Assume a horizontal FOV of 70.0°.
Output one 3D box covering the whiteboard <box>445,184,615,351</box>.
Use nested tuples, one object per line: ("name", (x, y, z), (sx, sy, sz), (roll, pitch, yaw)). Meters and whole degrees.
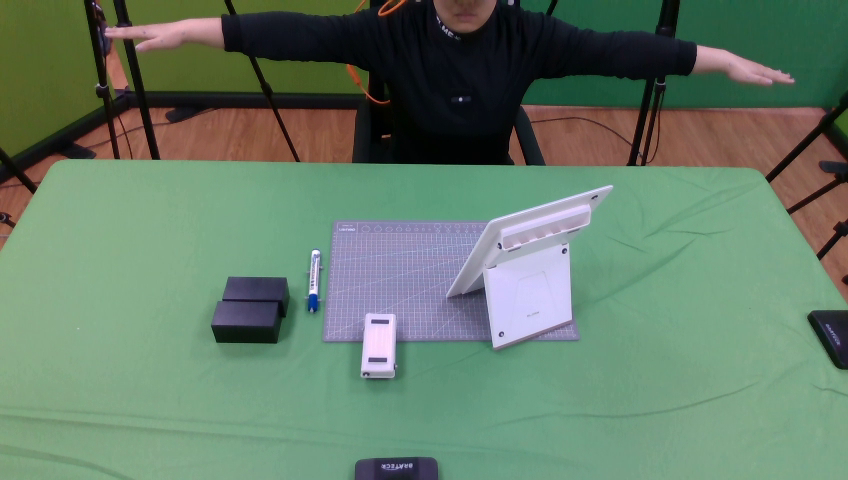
("whiteboard", (0.186, 0.065, 0.989), (0.217, 0.306, 0.143), (-15, 68, -18))

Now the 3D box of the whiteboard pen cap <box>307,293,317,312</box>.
("whiteboard pen cap", (-0.199, 0.110, 1.078), (0.018, 0.018, 0.033), (-1, 48, -5))

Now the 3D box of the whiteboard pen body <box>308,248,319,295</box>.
("whiteboard pen body", (-0.204, 0.069, 1.119), (0.017, 0.017, 0.140), (-1, 47, -5))

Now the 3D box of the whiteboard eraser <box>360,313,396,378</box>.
("whiteboard eraser", (-0.075, 0.176, 1.006), (0.055, 0.042, 0.112), (3, 50, -4))
